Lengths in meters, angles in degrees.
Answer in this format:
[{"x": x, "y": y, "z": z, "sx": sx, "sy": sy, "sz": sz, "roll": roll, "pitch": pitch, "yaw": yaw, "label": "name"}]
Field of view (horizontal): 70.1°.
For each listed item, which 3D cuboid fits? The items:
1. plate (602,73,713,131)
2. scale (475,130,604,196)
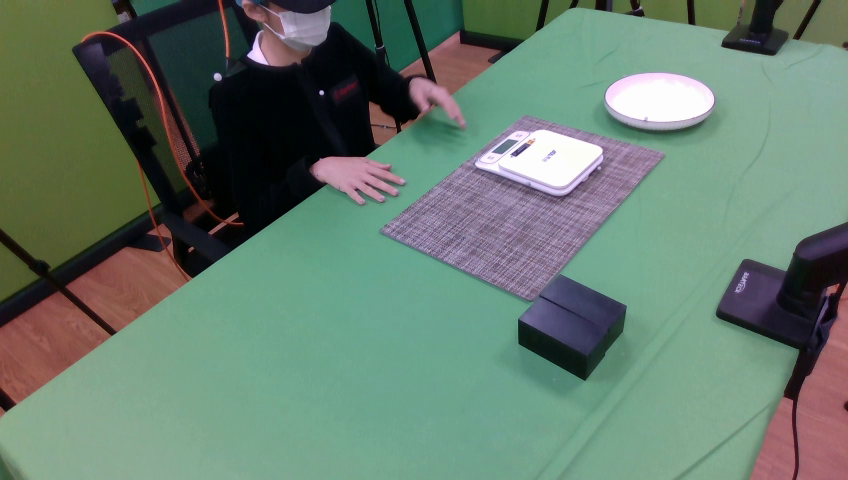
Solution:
[{"x": 0.463, "y": -0.271, "z": 1.210, "sx": 0.207, "sy": 0.039, "sz": 0.206, "roll": -4, "pitch": 40, "yaw": 4, "label": "plate"}, {"x": 0.209, "y": -0.148, "z": 1.105, "sx": 0.199, "sy": 0.032, "sz": 0.149, "roll": 26, "pitch": 50, "yaw": 34, "label": "scale"}]
